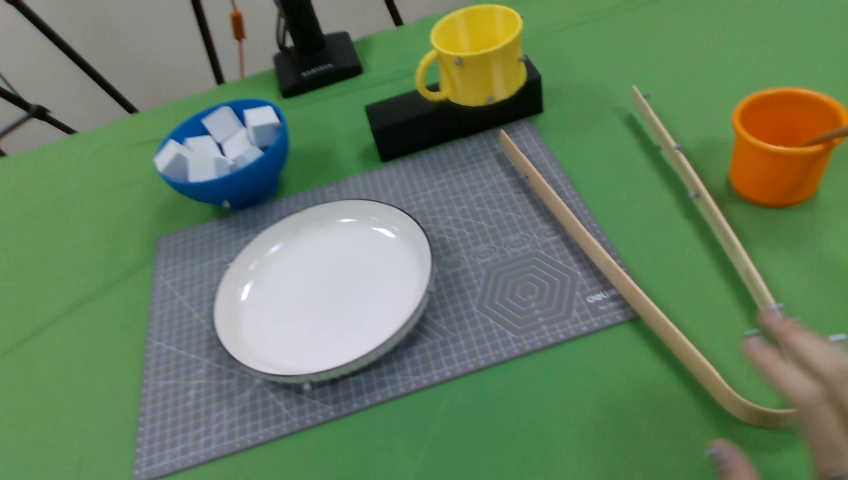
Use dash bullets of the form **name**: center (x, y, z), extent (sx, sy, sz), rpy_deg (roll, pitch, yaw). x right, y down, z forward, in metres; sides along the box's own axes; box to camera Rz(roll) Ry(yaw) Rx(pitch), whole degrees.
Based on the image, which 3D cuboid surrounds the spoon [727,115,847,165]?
- **spoon**: center (0.326, -0.088, 0.497), extent (0.041, 0.193, 0.021), rpy_deg (-36, 94, -13)

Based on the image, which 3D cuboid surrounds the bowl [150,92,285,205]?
- **bowl**: center (-0.223, -0.094, 0.698), extent (0.151, 0.077, 0.150), rpy_deg (-8, 47, 9)

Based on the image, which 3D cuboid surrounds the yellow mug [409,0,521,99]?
- **yellow mug**: center (0.041, -0.205, 0.666), extent (0.131, 0.064, 0.099), rpy_deg (-30, 48, -11)

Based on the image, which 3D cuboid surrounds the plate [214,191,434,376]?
- **plate**: center (-0.090, 0.038, 0.568), extent (0.207, 0.039, 0.205), rpy_deg (-8, 48, 9)

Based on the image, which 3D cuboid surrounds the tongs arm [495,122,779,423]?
- **tongs arm**: center (0.157, 0.002, 0.541), extent (0.028, 0.028, 0.383), rpy_deg (-22, 48, -11)

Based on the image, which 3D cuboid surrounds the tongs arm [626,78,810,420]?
- **tongs arm**: center (0.235, -0.025, 0.543), extent (0.051, 0.027, 0.380), rpy_deg (-13, 49, 1)
